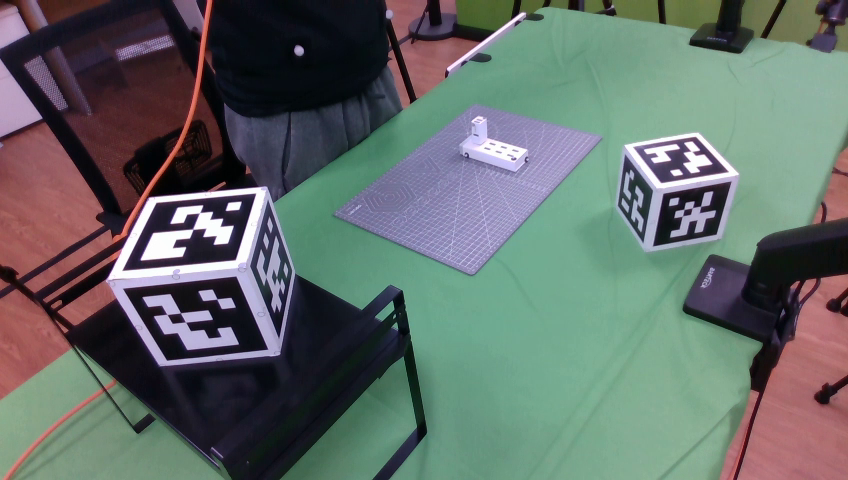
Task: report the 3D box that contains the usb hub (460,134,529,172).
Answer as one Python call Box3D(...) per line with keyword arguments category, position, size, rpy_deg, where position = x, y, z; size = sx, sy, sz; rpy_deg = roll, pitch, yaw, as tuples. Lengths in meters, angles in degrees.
Box3D(category="usb hub", position=(0.132, -0.165, 1.137), size=(0.124, 0.025, 0.049), rpy_deg=(22, 49, 30))

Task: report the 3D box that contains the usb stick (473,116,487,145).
Box3D(category="usb stick", position=(0.105, -0.208, 1.126), size=(0.021, 0.059, 0.027), rpy_deg=(7, 46, 3))
